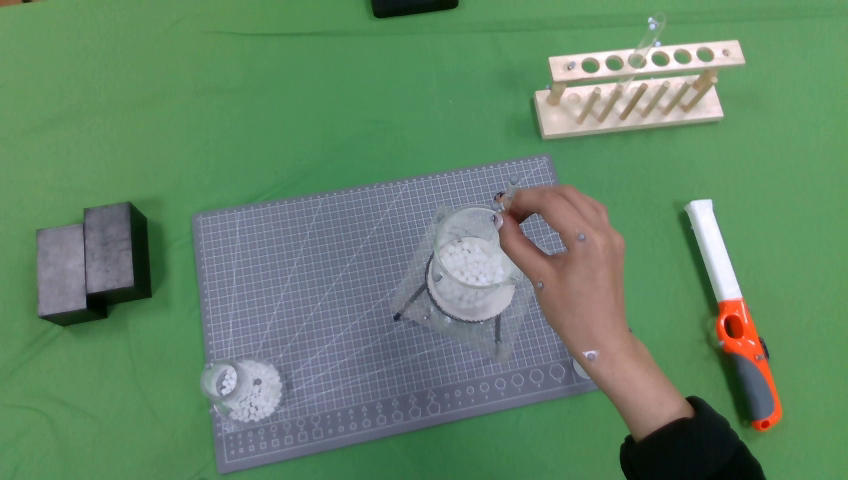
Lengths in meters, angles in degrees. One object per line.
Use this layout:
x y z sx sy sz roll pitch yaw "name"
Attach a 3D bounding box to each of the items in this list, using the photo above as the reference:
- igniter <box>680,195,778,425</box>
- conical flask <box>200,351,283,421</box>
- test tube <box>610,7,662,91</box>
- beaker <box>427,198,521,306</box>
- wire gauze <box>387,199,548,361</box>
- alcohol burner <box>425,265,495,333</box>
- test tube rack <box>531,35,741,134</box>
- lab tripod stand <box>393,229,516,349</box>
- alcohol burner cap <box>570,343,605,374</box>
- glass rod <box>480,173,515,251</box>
0.360 0.076 0.718 0.057 0.025 0.274 -5 72 -16 "igniter"
-0.189 0.142 0.611 0.075 0.122 0.075 1 72 -3 "conical flask"
0.251 -0.223 0.725 0.017 0.151 0.017 0 72 0 "test tube"
0.043 0.017 0.539 0.083 0.101 0.074 38 75 9 "beaker"
0.044 0.035 0.584 0.125 0.011 0.121 25 75 3 "wire gauze"
0.040 0.060 0.656 0.078 0.119 0.077 0 73 -1 "alcohol burner"
0.267 -0.196 0.769 0.243 0.085 0.066 -7 72 -5 "test tube rack"
0.038 0.054 0.647 0.148 0.132 0.147 1 74 -2 "lab tripod stand"
0.186 0.130 0.679 0.034 0.048 0.033 1 71 -3 "alcohol burner cap"
0.057 -0.017 0.488 0.008 0.200 0.008 0 76 0 "glass rod"
